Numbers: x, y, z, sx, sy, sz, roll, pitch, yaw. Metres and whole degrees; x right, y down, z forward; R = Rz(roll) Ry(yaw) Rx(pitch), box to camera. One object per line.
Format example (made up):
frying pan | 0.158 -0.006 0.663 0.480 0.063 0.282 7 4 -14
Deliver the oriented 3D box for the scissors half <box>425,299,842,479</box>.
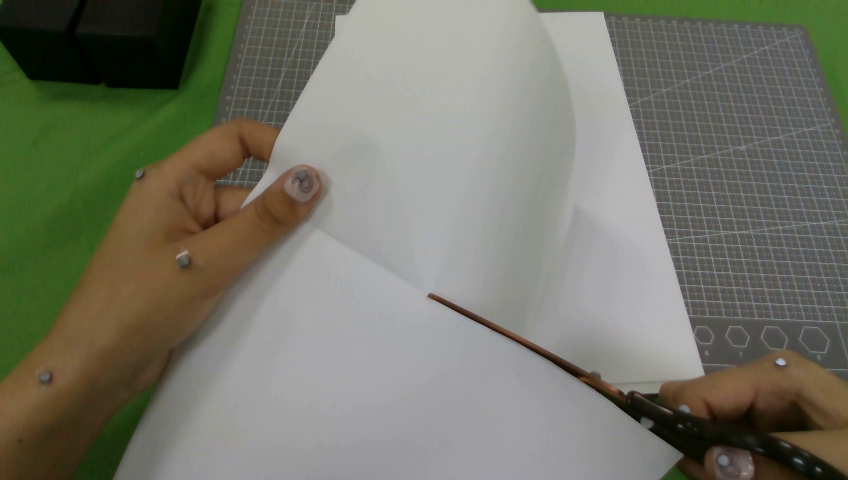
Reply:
scissors half | 0.079 0.061 0.234 0.174 0.040 0.013 24 67 11

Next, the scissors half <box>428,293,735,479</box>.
scissors half | 0.075 0.067 0.255 0.176 0.040 0.012 33 73 -11
